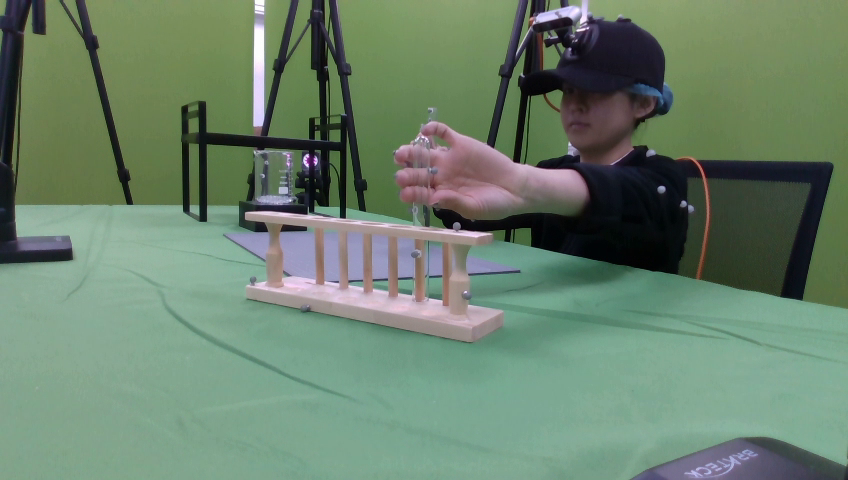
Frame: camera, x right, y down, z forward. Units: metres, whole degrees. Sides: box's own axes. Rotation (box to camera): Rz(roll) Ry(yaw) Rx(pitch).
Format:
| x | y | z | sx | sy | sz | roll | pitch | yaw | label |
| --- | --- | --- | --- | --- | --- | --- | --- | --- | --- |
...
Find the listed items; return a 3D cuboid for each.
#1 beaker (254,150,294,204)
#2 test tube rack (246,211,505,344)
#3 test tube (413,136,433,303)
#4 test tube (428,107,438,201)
| x | y | z | sx | sy | sz | roll | pitch | yaw | label |
| --- | --- | --- | --- | --- | --- | --- | --- | --- | --- |
| -0.289 | -0.120 | 1.151 | 0.073 | 0.100 | 0.084 | 7 | 9 | 33 | beaker |
| -0.049 | 0.024 | 0.547 | 0.241 | 0.085 | 0.067 | 7 | 8 | 29 | test tube rack |
| -0.001 | -0.017 | 0.537 | 0.017 | 0.150 | 0.017 | 1 | 9 | 0 | test tube |
| 0.014 | -0.137 | 0.972 | 0.017 | 0.150 | 0.017 | 0 | 13 | 0 | test tube |
